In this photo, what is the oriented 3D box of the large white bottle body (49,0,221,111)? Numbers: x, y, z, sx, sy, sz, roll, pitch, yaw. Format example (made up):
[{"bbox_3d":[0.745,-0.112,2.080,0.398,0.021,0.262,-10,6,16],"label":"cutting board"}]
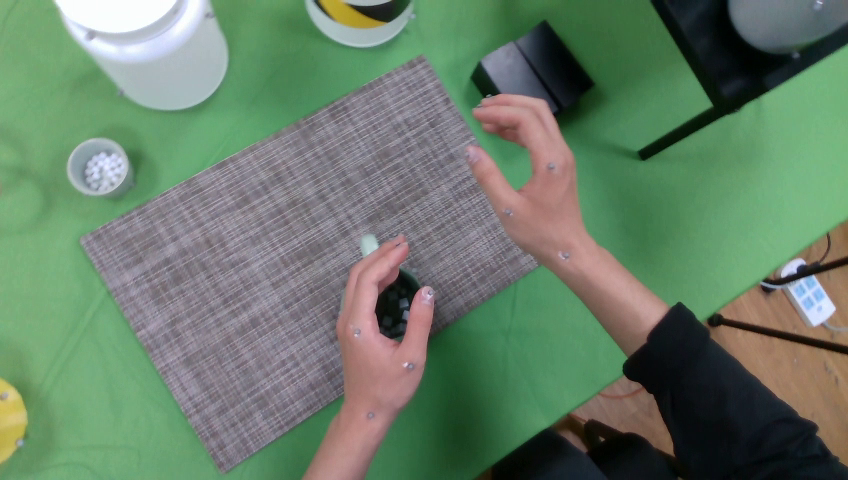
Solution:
[{"bbox_3d":[-0.291,-0.222,0.619,0.131,0.184,0.130,1,83,-8],"label":"large white bottle body"}]

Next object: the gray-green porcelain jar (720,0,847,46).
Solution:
[{"bbox_3d":[0.355,-0.253,0.570,0.106,0.126,0.105,1,82,-8],"label":"gray-green porcelain jar"}]

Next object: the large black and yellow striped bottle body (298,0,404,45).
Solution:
[{"bbox_3d":[-0.078,-0.312,0.663,0.131,0.184,0.130,1,83,-8],"label":"large black and yellow striped bottle body"}]

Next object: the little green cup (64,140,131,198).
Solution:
[{"bbox_3d":[-0.356,-0.075,0.666,0.062,0.038,0.061,1,84,-9],"label":"little green cup"}]

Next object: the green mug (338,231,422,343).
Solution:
[{"bbox_3d":[-0.052,0.051,0.661,0.092,0.105,0.125,-15,85,-10],"label":"green mug"}]

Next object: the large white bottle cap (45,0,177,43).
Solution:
[{"bbox_3d":[-0.278,-0.233,0.536,0.115,0.018,0.114,1,84,-8],"label":"large white bottle cap"}]

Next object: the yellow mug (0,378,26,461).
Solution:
[{"bbox_3d":[-0.467,0.202,0.603,0.100,0.064,0.130,1,84,-9],"label":"yellow mug"}]
